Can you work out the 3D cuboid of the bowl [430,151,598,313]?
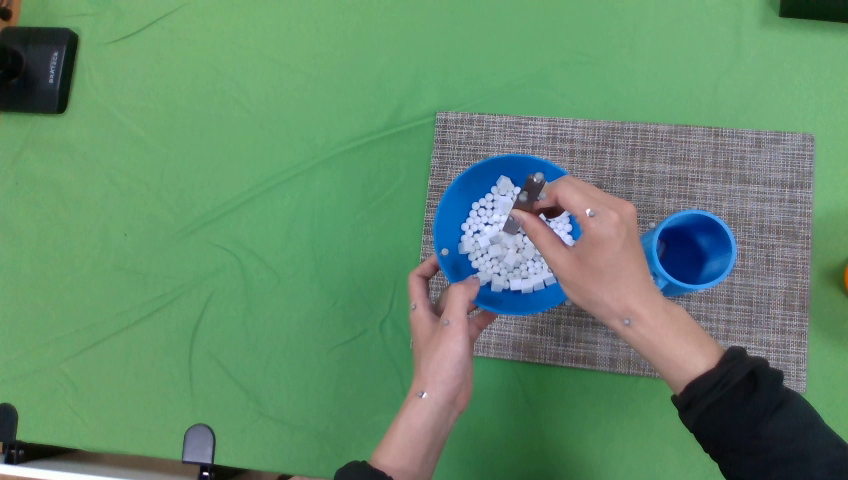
[{"bbox_3d":[0.083,-0.002,0.581,0.151,0.077,0.151,0,80,1],"label":"bowl"}]

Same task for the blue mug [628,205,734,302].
[{"bbox_3d":[0.266,0.025,0.661,0.082,0.106,0.116,43,89,11],"label":"blue mug"}]

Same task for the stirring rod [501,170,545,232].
[{"bbox_3d":[0.077,-0.027,0.491,0.014,0.177,0.006,22,81,6],"label":"stirring rod"}]
